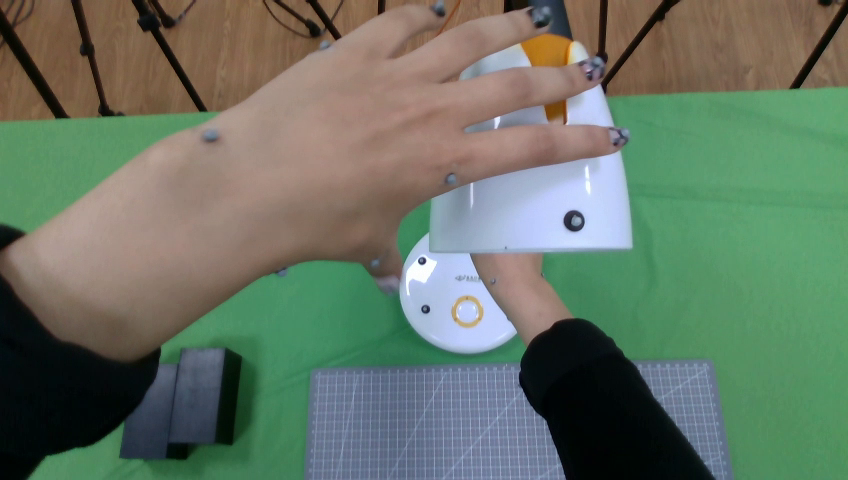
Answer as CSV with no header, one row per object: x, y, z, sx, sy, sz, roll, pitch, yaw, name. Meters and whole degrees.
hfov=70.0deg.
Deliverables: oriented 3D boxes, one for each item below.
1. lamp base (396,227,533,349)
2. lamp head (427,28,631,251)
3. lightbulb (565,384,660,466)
0.040,0.009,0.644,0.160,0.181,0.177,-7,66,1,lamp base
0.055,-0.052,0.341,0.112,0.112,0.122,-2,84,3,lamp head
0.194,0.188,0.633,0.106,0.060,0.059,36,74,32,lightbulb
